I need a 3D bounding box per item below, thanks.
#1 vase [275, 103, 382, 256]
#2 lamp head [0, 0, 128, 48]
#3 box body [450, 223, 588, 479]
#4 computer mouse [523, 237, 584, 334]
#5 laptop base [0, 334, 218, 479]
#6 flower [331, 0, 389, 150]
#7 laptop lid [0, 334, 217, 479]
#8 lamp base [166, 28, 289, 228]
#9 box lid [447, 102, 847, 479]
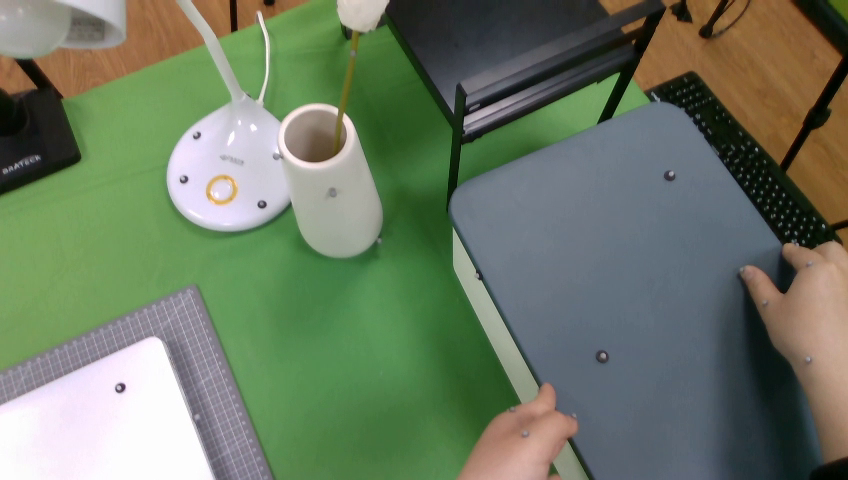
[{"bbox_3d":[-0.099,-0.058,0.630,0.098,0.201,0.097,0,67,1],"label":"vase"},{"bbox_3d":[-0.237,-0.189,0.368,0.112,0.112,0.122,3,86,0],"label":"lamp head"},{"bbox_3d":[0.206,0.085,0.600,0.254,0.161,0.361,-24,70,-10],"label":"box body"},{"bbox_3d":[0.145,0.047,0.675,0.063,0.041,0.116,7,61,6],"label":"computer mouse"},{"bbox_3d":[-0.386,0.268,0.590,0.354,0.023,0.234,-25,74,-11],"label":"laptop base"},{"bbox_3d":[-0.080,-0.097,0.558,0.038,0.364,0.043,-12,58,-24],"label":"flower"},{"bbox_3d":[-0.385,0.266,0.579,0.357,0.013,0.240,-24,73,-10],"label":"laptop lid"},{"bbox_3d":[-0.228,-0.128,0.666,0.160,0.181,0.178,6,65,1],"label":"lamp base"},{"bbox_3d":[0.206,0.054,0.532,0.263,0.015,0.368,-24,70,-10],"label":"box lid"}]
